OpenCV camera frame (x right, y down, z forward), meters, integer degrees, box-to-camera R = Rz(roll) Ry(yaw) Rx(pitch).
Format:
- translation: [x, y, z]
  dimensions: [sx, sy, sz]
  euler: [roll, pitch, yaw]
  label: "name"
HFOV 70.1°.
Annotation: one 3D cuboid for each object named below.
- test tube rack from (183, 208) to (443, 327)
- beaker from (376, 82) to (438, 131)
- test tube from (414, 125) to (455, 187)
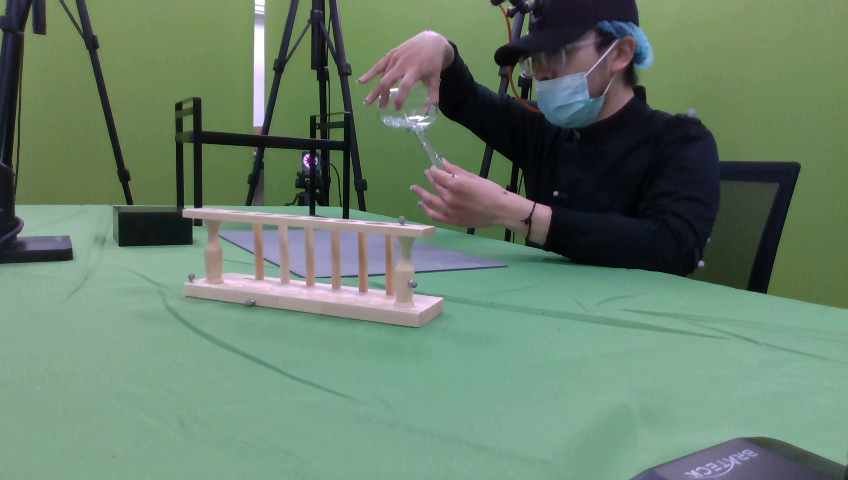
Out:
- translation: [-0.106, 0.019, 0.570]
  dimensions: [0.241, 0.085, 0.067]
  euler: [5, 8, 19]
  label: "test tube rack"
- translation: [-0.034, -0.234, 1.073]
  dimensions: [0.074, 0.084, 0.100]
  euler: [4, 6, -35]
  label: "beaker"
- translation: [0.016, -0.140, 0.997]
  dimensions: [0.017, 0.017, 0.150]
  euler: [-2, 47, -30]
  label: "test tube"
